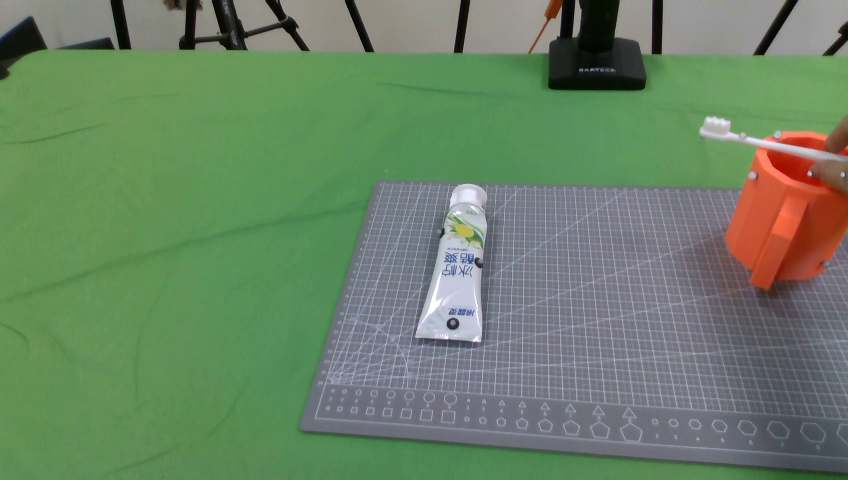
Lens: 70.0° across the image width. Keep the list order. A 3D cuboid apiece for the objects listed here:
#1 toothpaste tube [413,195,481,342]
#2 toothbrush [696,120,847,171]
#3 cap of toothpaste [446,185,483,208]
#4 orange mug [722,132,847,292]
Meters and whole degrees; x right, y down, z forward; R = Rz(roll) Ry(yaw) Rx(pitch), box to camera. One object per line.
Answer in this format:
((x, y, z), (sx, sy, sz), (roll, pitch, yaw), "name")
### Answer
((0.027, 0.019, 0.538), (0.055, 0.035, 0.163), (-1, 47, 11), "toothpaste tube")
((0.309, -0.067, 0.476), (0.180, 0.017, 0.014), (20, 41, 25), "toothbrush")
((0.039, -0.038, 0.588), (0.037, 0.038, 0.011), (5, 50, 10), "cap of toothpaste")
((0.300, -0.018, 0.501), (0.083, 0.102, 0.126), (24, 46, 28), "orange mug")
